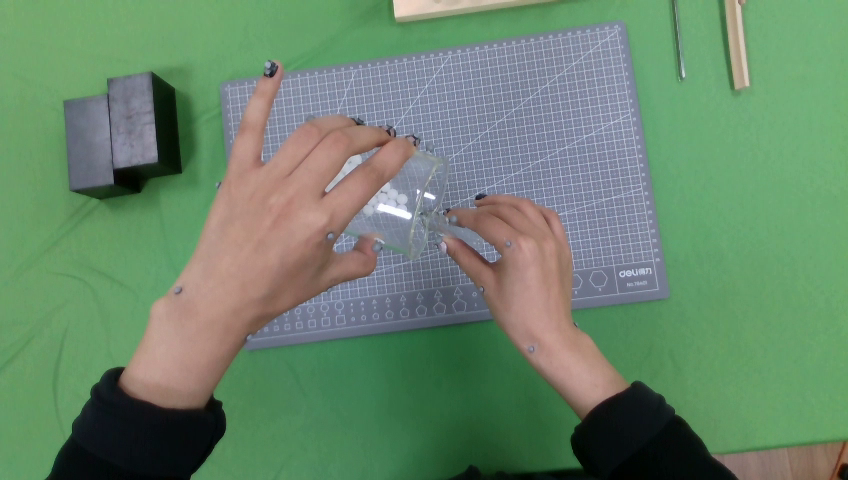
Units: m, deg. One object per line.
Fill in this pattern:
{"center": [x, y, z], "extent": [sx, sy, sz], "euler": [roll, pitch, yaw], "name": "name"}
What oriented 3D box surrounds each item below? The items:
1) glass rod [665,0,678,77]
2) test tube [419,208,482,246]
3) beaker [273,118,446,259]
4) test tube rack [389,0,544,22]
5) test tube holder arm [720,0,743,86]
{"center": [0.260, -0.271, 0.651], "extent": [0.008, 0.008, 0.199], "euler": [-3, 84, 4], "name": "glass rod"}
{"center": [0.026, -0.009, 0.518], "extent": [0.017, 0.151, 0.017], "euler": [-2, 83, 18], "name": "test tube"}
{"center": [-0.043, -0.037, 0.417], "extent": [0.100, 0.084, 0.074], "euler": [19, 83, 9], "name": "beaker"}
{"center": [0.077, -0.294, 0.630], "extent": [0.242, 0.085, 0.066], "euler": [-7, 83, 4], "name": "test tube rack"}
{"center": [0.320, -0.250, 0.636], "extent": [0.013, 0.015, 0.178], "euler": [1, 84, -24], "name": "test tube holder arm"}
